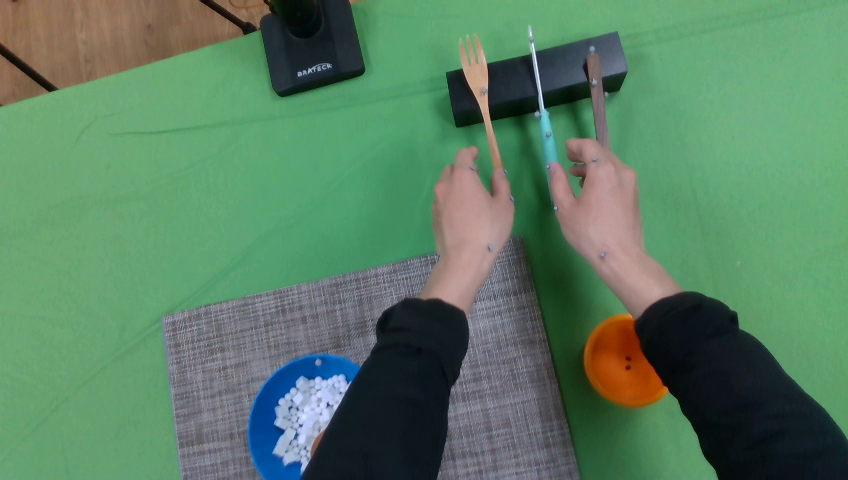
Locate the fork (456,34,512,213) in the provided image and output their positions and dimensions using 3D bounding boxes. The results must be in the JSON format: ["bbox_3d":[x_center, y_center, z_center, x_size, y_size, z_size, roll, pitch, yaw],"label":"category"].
[{"bbox_3d":[0.072,-0.131,0.698,0.028,0.018,0.208,-15,98,4],"label":"fork"}]

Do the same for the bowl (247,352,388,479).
[{"bbox_3d":[-0.106,0.199,0.662,0.151,0.077,0.151,-1,80,7],"label":"bowl"}]

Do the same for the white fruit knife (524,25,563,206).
[{"bbox_3d":[0.134,-0.140,0.691,0.016,0.027,0.207,-12,95,2],"label":"white fruit knife"}]

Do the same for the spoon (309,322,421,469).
[{"bbox_3d":[-0.059,0.162,0.628,0.041,0.021,0.194,38,105,6],"label":"spoon"}]

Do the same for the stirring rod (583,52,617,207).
[{"bbox_3d":[0.201,-0.124,0.690,0.014,0.006,0.176,-10,98,4],"label":"stirring rod"}]
